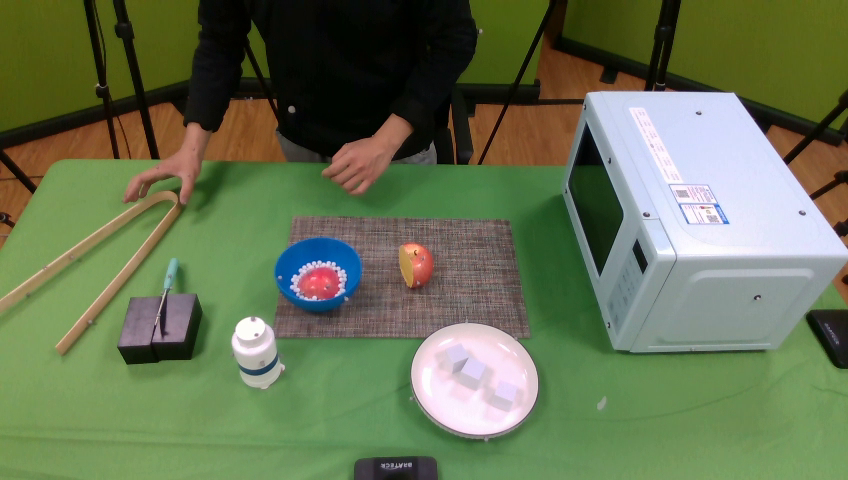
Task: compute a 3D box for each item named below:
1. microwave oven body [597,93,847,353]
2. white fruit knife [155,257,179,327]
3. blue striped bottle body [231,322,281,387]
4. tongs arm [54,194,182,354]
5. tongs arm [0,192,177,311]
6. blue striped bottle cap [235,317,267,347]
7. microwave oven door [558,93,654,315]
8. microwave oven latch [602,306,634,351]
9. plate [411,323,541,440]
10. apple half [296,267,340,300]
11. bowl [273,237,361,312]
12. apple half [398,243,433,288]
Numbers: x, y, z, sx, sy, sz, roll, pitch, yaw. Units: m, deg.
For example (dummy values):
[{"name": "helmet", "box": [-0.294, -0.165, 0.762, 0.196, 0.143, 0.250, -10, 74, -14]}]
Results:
[{"name": "microwave oven body", "box": [0.475, -0.041, 1.109, 0.326, 0.261, 0.438, -1, 45, -4]}, {"name": "white fruit knife", "box": [-0.440, 0.085, 1.037, 0.016, 0.027, 0.206, 10, 26, -19]}, {"name": "blue striped bottle body", "box": [-0.262, 0.171, 0.944, 0.063, 0.121, 0.062, 2, 46, -2]}, {"name": "tongs arm", "box": [-0.543, 0.048, 1.107, 0.028, 0.028, 0.385, 11, 46, 10]}, {"name": "tongs arm", "box": [-0.618, 0.019, 1.123, 0.050, 0.026, 0.384, 24, 47, 17]}, {"name": "blue striped bottle cap", "box": [-0.260, 0.137, 0.907, 0.044, 0.021, 0.044, 3, 43, -2]}, {"name": "microwave oven door", "box": [0.327, -0.074, 1.123, 0.039, 0.245, 0.353, -1, 46, -5]}, {"name": "microwave oven latch", "box": [0.332, 0.153, 1.044, 0.030, 0.029, 0.078, -1, 45, -4]}, {"name": "plate", "box": [0.082, 0.228, 0.976, 0.208, 0.039, 0.206, 2, 45, -2]}, {"name": "apple half", "box": [-0.187, 0.071, 1.067, 0.081, 0.033, 0.081, 2, 47, -2]}, {"name": "bowl", "box": [-0.186, 0.074, 1.069, 0.151, 0.077, 0.150, 3, 46, -3]}, {"name": "apple half", "box": [-0.012, 0.046, 1.115, 0.053, 0.075, 0.080, -11, 44, -19]}]
